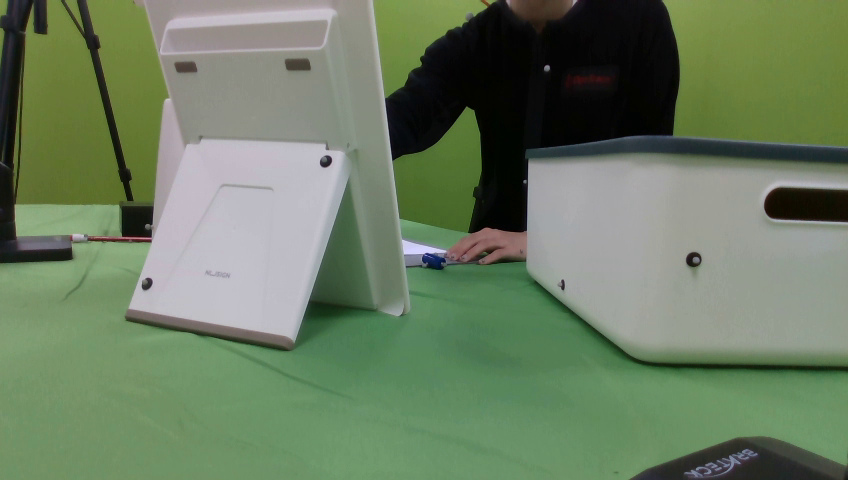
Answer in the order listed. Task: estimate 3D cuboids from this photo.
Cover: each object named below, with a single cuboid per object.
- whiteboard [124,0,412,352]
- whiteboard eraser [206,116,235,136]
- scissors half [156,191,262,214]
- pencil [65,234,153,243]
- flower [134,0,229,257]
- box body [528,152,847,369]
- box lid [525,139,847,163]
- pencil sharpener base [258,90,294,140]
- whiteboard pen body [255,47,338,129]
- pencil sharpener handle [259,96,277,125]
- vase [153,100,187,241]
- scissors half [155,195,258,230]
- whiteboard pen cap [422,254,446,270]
[{"bbox_3d":[-0.151,-0.049,0.471,0.216,0.305,0.144,6,27,24],"label":"whiteboard"},{"bbox_3d":[-0.449,-0.251,1.335,0.056,0.042,0.112,1,7,-22],"label":"whiteboard eraser"},{"bbox_3d":[-0.371,-0.068,1.051,0.176,0.040,0.013,2,25,-24],"label":"scissors half"},{"bbox_3d":[-0.429,0.000,0.910,0.195,0.012,0.012,2,7,-19],"label":"pencil"},{"bbox_3d":[-0.282,-0.146,0.712,0.038,0.362,0.044,-23,23,-31],"label":"flower"},{"bbox_3d":[0.258,-0.005,0.591,0.254,0.160,0.363,2,7,-4],"label":"box body"},{"bbox_3d":[0.261,-0.078,0.580,0.264,0.015,0.371,2,7,-4],"label":"box lid"},{"bbox_3d":[-0.341,-0.285,1.388,0.062,0.107,0.076,-3,9,-36],"label":"pencil sharpener base"},{"bbox_3d":[-0.119,-0.145,0.571,0.017,0.017,0.141,6,45,26],"label":"whiteboard pen body"},{"bbox_3d":[-0.373,-0.304,1.425,0.036,0.067,0.030,13,-1,-37],"label":"pencil sharpener handle"},{"bbox_3d":[-0.278,-0.066,0.736,0.098,0.200,0.098,2,9,0],"label":"vase"},{"bbox_3d":[-0.378,-0.051,1.058,0.176,0.040,0.012,20,22,-31],"label":"scissors half"},{"bbox_3d":[0.013,0.029,0.806,0.018,0.018,0.033,-4,14,-42],"label":"whiteboard pen cap"}]
